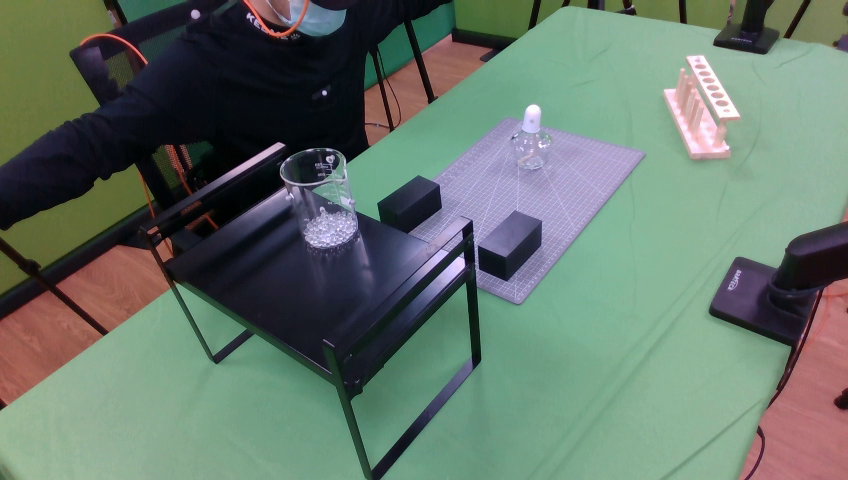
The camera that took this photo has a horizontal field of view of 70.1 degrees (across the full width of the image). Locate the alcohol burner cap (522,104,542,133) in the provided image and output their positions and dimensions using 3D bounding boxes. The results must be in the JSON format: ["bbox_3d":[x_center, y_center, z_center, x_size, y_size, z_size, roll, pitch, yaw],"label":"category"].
[{"bbox_3d":[0.191,-0.217,1.065,0.034,0.048,0.033,0,40,0],"label":"alcohol burner cap"}]

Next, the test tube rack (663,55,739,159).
[{"bbox_3d":[0.518,-0.256,1.144,0.066,0.085,0.241,-1,41,8],"label":"test tube rack"}]

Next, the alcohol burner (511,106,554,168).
[{"bbox_3d":[0.195,-0.190,1.088,0.078,0.119,0.077,-3,42,3],"label":"alcohol burner"}]

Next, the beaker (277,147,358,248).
[{"bbox_3d":[-0.117,-0.046,0.705,0.083,0.101,0.074,17,47,25],"label":"beaker"}]
